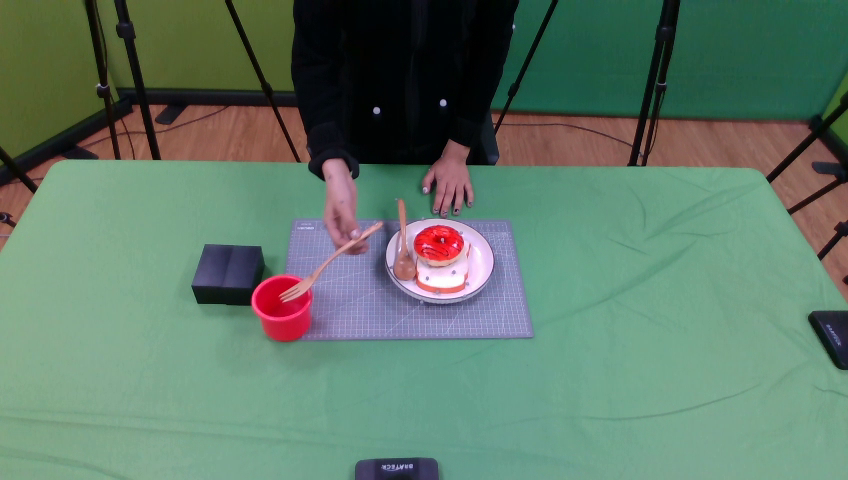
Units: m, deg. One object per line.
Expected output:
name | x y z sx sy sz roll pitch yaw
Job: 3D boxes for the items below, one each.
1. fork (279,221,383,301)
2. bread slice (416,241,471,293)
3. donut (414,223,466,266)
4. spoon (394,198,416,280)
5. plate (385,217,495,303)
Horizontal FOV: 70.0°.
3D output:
fork | -0.150 0.033 0.989 0.207 0.019 0.028 -40 41 -5
bread slice | 0.036 0.046 1.144 0.105 0.019 0.131 3 45 2
donut | 0.030 0.007 1.140 0.099 0.048 0.098 0 42 0
spoon | -0.039 -0.005 1.166 0.042 0.022 0.192 1 59 -7
plate | 0.030 0.041 1.145 0.209 0.038 0.208 2 46 -2
